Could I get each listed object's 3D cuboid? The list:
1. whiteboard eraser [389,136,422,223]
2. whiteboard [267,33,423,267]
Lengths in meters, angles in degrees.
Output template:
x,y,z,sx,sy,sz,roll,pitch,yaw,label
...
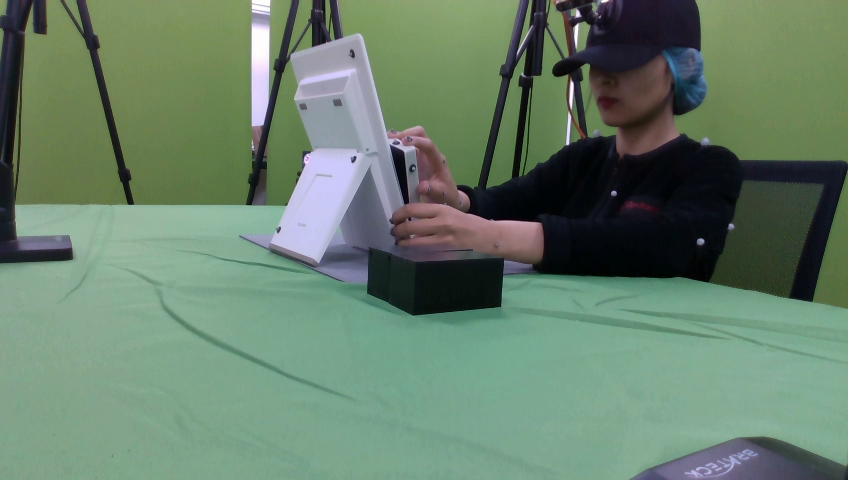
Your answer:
x,y,z,sx,sy,sz,roll,pitch,yaw,label
-0.034,-0.079,0.813,0.042,0.113,0.055,-29,40,-29,whiteboard eraser
-0.153,-0.097,0.818,0.144,0.305,0.216,-24,20,-28,whiteboard
